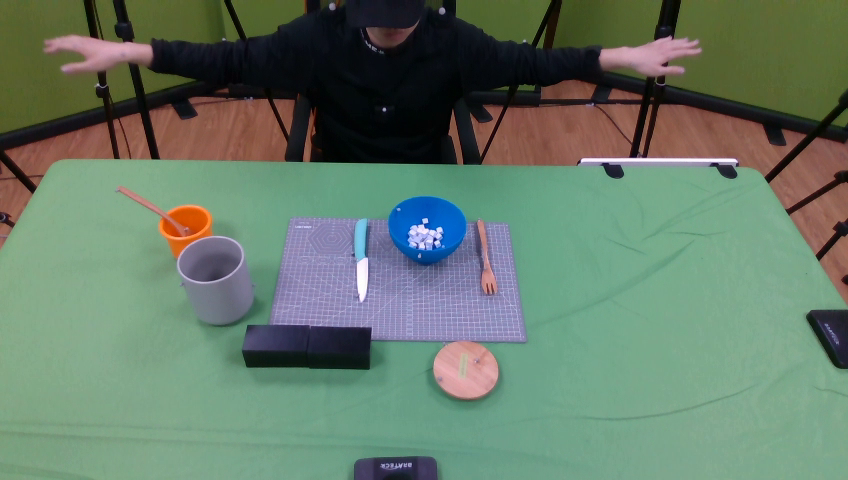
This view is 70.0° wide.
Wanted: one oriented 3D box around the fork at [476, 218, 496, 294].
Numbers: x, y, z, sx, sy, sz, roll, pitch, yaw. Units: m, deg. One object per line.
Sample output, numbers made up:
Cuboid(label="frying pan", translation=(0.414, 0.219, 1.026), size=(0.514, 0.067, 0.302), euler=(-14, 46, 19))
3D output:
Cuboid(label="fork", translation=(0.118, 0.027, 1.178), size=(0.028, 0.019, 0.206), euler=(-4, 48, 1))

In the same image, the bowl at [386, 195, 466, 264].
Cuboid(label="bowl", translation=(0.002, -0.007, 1.162), size=(0.151, 0.077, 0.150), euler=(2, 46, -2))

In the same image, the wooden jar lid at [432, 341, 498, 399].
Cuboid(label="wooden jar lid", translation=(0.067, 0.216, 0.997), size=(0.108, 0.021, 0.107), euler=(1, 46, -1))

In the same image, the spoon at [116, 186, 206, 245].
Cuboid(label="spoon", translation=(-0.474, -0.041, 1.112), size=(0.021, 0.195, 0.041), euler=(-31, 32, 30))

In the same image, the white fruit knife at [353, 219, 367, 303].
Cuboid(label="white fruit knife", translation=(-0.122, 0.036, 1.153), size=(0.027, 0.016, 0.206), euler=(-10, 47, 5))

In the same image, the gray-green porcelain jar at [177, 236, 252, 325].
Cuboid(label="gray-green porcelain jar", translation=(-0.350, 0.073, 1.027), size=(0.106, 0.127, 0.105), euler=(3, 46, -3))
